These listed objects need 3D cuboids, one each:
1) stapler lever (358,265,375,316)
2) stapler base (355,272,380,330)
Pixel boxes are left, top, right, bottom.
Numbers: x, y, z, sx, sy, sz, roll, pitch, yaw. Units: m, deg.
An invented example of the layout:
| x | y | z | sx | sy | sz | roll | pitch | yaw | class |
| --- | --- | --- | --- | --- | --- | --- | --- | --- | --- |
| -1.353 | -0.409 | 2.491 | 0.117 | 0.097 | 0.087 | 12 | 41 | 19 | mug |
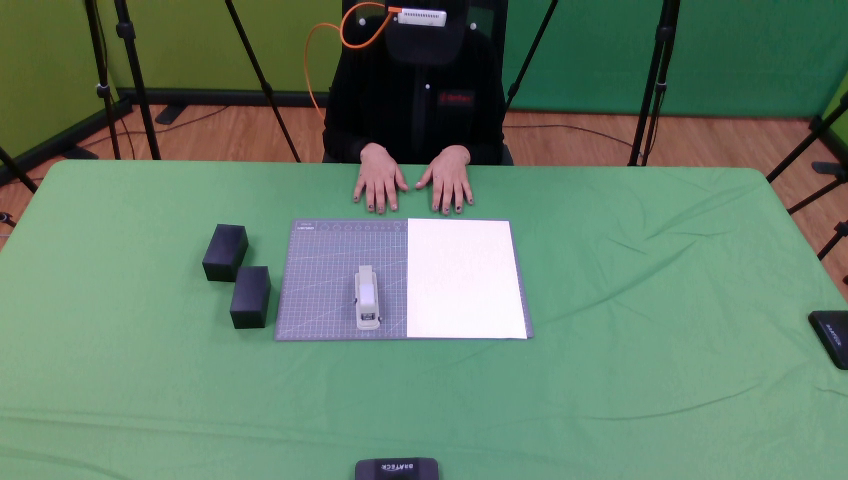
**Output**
| x | y | z | sx | sy | sz | roll | pitch | yaw | class |
| --- | --- | --- | --- | --- | --- | --- | --- | --- | --- |
| -0.102 | 0.083 | 1.070 | 0.027 | 0.040 | 0.117 | -1 | 44 | -8 | stapler lever |
| -0.103 | 0.102 | 1.087 | 0.041 | 0.024 | 0.129 | -1 | 45 | -8 | stapler base |
